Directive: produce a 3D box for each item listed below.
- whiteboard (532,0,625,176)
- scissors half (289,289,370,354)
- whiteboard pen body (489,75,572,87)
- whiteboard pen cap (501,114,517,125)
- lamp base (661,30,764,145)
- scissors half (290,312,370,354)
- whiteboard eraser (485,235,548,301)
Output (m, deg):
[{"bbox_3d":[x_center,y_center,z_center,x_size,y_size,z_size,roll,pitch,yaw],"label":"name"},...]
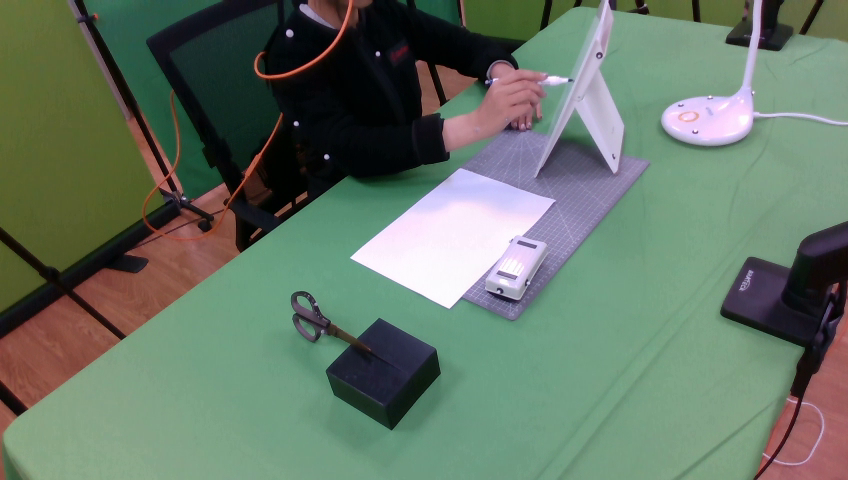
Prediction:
[{"bbox_3d":[0.320,-0.258,1.050,0.144,0.306,0.217,21,45,5],"label":"whiteboard"},{"bbox_3d":[-0.128,0.110,0.809,0.013,0.040,0.173,-17,36,-43],"label":"scissors half"},{"bbox_3d":[0.181,-0.271,1.030,0.140,0.017,0.017,3,42,16],"label":"whiteboard pen body"},{"bbox_3d":[0.172,-0.244,1.226,0.033,0.018,0.018,-18,40,-28],"label":"whiteboard pen cap"},{"bbox_3d":[0.535,-0.287,1.096,0.179,0.181,0.159,-10,40,-4],"label":"lamp base"},{"bbox_3d":[-0.128,0.129,0.816,0.013,0.040,0.173,-23,21,-40],"label":"scissors half"},{"bbox_3d":[0.137,0.042,0.887,0.055,0.042,0.113,15,46,27],"label":"whiteboard eraser"}]
